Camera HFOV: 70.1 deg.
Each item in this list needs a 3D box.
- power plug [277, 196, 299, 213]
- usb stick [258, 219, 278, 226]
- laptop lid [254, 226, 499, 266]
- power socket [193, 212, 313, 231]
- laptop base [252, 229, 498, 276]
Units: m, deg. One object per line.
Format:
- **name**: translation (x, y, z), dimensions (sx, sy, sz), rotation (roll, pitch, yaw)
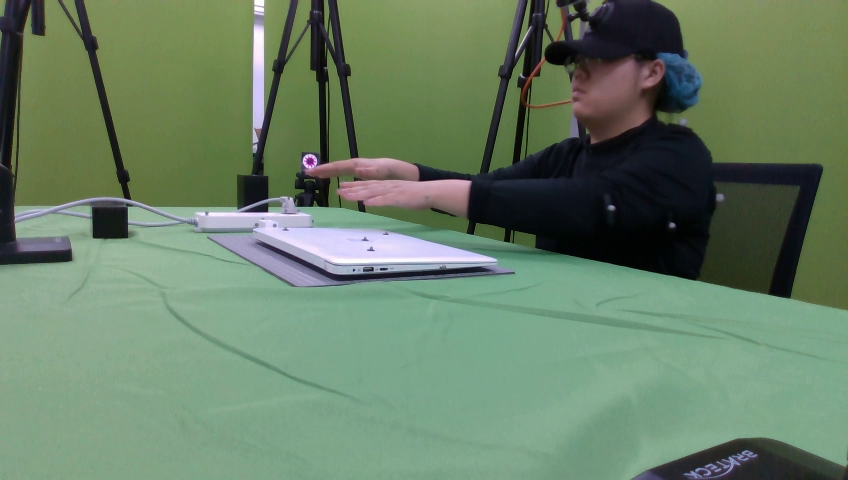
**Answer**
- **power plug**: translation (-0.274, -0.062, 1.217), dimensions (0.035, 0.052, 0.072), rotation (0, 5, -22)
- **usb stick**: translation (-0.255, -0.019, 0.996), dimensions (0.021, 0.027, 0.059), rotation (-2, 12, -29)
- **laptop lid**: translation (-0.086, 0.004, 0.876), dimensions (0.243, 0.013, 0.355), rotation (1, 7, -30)
- **power socket**: translation (-0.322, -0.037, 1.153), dimensions (0.228, 0.032, 0.072), rotation (-2, 7, -33)
- **laptop base**: translation (-0.089, 0.016, 0.876), dimensions (0.237, 0.023, 0.352), rotation (2, 6, -32)
